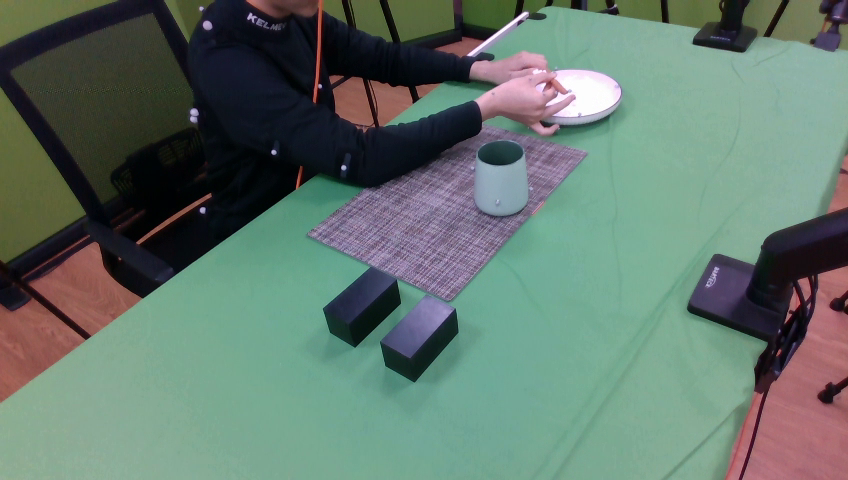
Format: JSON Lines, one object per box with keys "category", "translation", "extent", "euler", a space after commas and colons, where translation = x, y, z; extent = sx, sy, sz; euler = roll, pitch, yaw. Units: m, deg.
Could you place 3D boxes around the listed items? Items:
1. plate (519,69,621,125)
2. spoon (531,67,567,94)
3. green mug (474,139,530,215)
{"category": "plate", "translation": [0.300, -0.293, 1.253], "extent": [0.209, 0.038, 0.208], "euler": [-4, 41, 4]}
{"category": "spoon", "translation": [0.244, -0.310, 1.170], "extent": [0.041, 0.022, 0.193], "euler": [-7, 25, 0]}
{"category": "green mug", "translation": [0.126, -0.113, 1.013], "extent": [0.092, 0.105, 0.124], "euler": [-8, 41, 0]}
